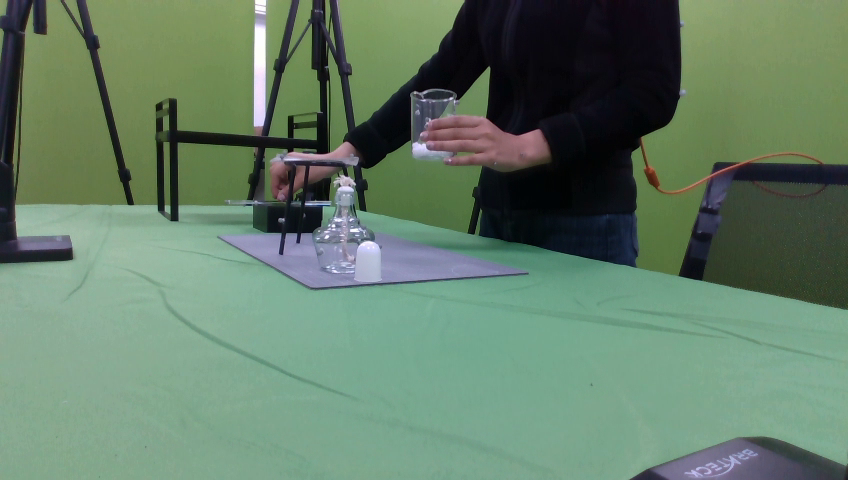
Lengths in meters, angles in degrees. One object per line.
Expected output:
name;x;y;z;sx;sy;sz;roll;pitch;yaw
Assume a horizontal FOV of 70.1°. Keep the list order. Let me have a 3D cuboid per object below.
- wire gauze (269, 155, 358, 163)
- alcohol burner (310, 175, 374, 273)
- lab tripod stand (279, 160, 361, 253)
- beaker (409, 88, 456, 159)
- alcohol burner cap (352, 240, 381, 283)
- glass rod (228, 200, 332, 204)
wire gauze;-0.159;-0.118;0.886;0.122;0.011;0.125;1;7;-9
alcohol burner;-0.100;-0.020;0.741;0.078;0.119;0.078;1;6;0
lab tripod stand;-0.166;-0.052;0.897;0.148;0.131;0.148;0;7;0
beaker;0.012;-0.180;0.944;0.074;0.100;0.084;0;2;26
alcohol burner cap;-0.065;0.023;0.690;0.034;0.048;0.034;2;8;0
glass rod;-0.269;-0.072;1.149;0.201;0.008;0.008;-2;8;-29
